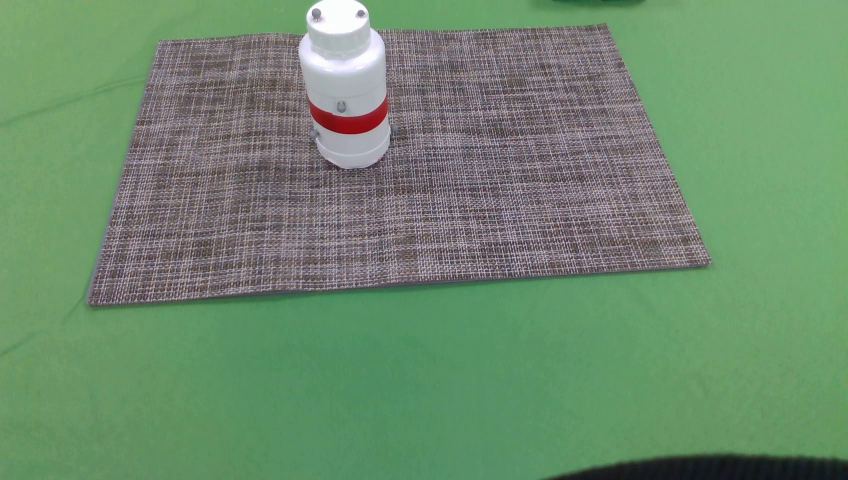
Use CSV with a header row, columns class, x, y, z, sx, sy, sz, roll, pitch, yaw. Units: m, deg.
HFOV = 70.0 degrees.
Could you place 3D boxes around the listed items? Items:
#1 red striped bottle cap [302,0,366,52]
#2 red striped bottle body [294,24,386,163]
class,x,y,z,sx,sy,sz,roll,pitch,yaw
red striped bottle cap,-0.063,-0.153,0.424,0.044,0.018,0.044,2,57,-2
red striped bottle body,-0.063,-0.121,0.467,0.063,0.121,0.062,0,55,0
